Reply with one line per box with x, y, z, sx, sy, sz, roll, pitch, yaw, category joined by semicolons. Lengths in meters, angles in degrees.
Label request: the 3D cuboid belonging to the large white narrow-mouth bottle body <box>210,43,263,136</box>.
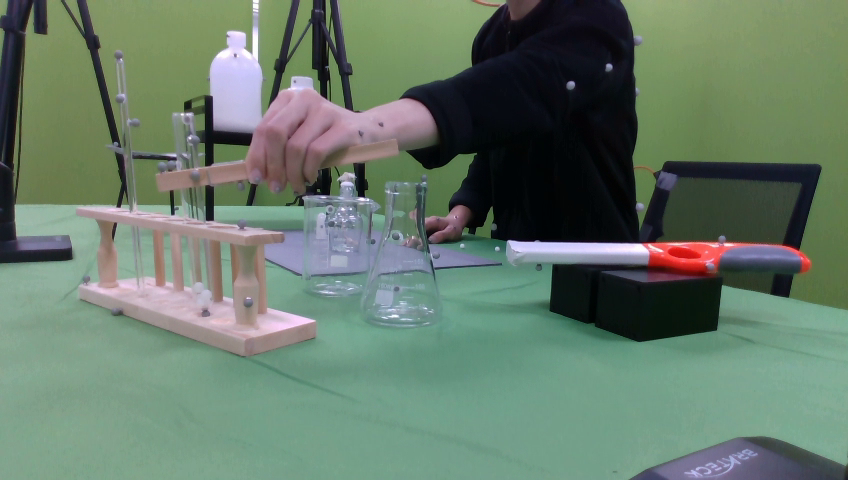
-0.369;-0.305;1.193;0.102;0.194;0.102;3;8;0;large white narrow-mouth bottle body

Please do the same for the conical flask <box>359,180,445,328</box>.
-0.017;0.010;0.522;0.075;0.122;0.075;2;7;0;conical flask

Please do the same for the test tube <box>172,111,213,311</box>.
-0.173;-0.020;0.452;0.017;0.150;0.017;-2;10;1;test tube

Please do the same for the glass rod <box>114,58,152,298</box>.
-0.236;-0.044;0.493;0.008;0.199;0.008;0;16;0;glass rod

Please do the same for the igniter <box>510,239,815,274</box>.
0.220;0.015;0.565;0.277;0.025;0.057;2;17;-1;igniter

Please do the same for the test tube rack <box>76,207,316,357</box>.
-0.196;0.023;0.499;0.241;0.085;0.067;8;9;36;test tube rack

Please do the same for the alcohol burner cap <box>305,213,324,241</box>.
-0.185;-0.023;1.027;0.034;0.048;0.034;3;6;0;alcohol burner cap

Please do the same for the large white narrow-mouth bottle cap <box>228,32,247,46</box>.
-0.364;-0.391;1.179;0.038;0.024;0.037;4;8;0;large white narrow-mouth bottle cap

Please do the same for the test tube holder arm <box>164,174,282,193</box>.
-0.152;-0.049;0.455;0.088;0.015;0.010;-10;6;-4;test tube holder arm

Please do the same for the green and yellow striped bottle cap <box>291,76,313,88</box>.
-0.250;-0.321;1.237;0.045;0.020;0.045;4;4;0;green and yellow striped bottle cap

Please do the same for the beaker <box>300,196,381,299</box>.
-0.087;0.006;0.626;0.084;0.100;0.074;1;8;-17;beaker

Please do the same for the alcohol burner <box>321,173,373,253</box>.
-0.115;-0.041;0.905;0.078;0.119;0.078;0;6;0;alcohol burner

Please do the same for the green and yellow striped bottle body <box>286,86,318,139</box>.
-0.251;-0.270;1.245;0.063;0.119;0.063;2;7;0;green and yellow striped bottle body

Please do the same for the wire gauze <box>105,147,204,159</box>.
-0.408;-0.131;0.929;0.125;0.011;0.121;2;6;-11;wire gauze

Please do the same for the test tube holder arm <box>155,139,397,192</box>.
-0.107;-0.056;0.457;0.179;0.015;0.013;-11;7;-13;test tube holder arm

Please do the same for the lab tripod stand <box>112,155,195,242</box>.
-0.405;-0.064;0.931;0.148;0.131;0.148;1;6;0;lab tripod stand
